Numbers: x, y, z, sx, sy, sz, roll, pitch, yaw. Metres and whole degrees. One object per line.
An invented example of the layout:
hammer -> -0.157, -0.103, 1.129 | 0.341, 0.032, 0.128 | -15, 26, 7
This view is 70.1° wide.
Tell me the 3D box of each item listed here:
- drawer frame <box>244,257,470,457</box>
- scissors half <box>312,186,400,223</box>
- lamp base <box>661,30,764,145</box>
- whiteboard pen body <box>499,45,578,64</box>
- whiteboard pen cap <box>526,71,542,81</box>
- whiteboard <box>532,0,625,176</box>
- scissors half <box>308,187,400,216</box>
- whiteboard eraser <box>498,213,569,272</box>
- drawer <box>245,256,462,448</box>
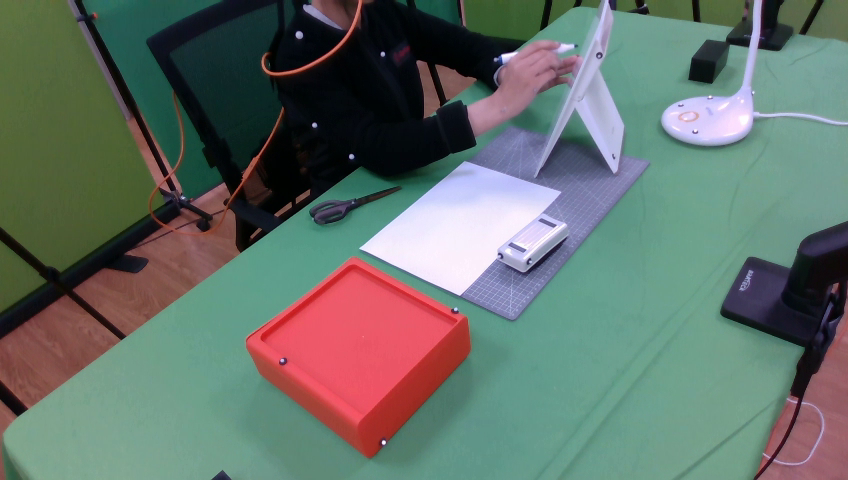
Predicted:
drawer frame -> -0.084, 0.138, 0.788 | 0.212, 0.083, 0.202 | 25, 50, 33
scissors half -> -0.118, -0.066, 1.088 | 0.176, 0.013, 0.040 | -25, 38, -24
lamp base -> 0.535, -0.287, 1.096 | 0.179, 0.181, 0.159 | -10, 40, -4
whiteboard pen body -> 0.201, -0.326, 1.059 | 0.141, 0.017, 0.017 | -9, 40, 2
whiteboard pen cap -> 0.212, -0.315, 1.163 | 0.018, 0.018, 0.033 | 26, 31, 34
whiteboard -> 0.320, -0.259, 1.050 | 0.144, 0.306, 0.217 | 21, 45, 5
scissors half -> -0.126, -0.075, 1.104 | 0.176, 0.013, 0.039 | -15, 29, -10
whiteboard eraser -> 0.168, 0.006, 0.924 | 0.113, 0.042, 0.055 | -36, 48, -28
drawer -> -0.089, 0.136, 0.792 | 0.210, 0.073, 0.195 | 26, 51, 34
